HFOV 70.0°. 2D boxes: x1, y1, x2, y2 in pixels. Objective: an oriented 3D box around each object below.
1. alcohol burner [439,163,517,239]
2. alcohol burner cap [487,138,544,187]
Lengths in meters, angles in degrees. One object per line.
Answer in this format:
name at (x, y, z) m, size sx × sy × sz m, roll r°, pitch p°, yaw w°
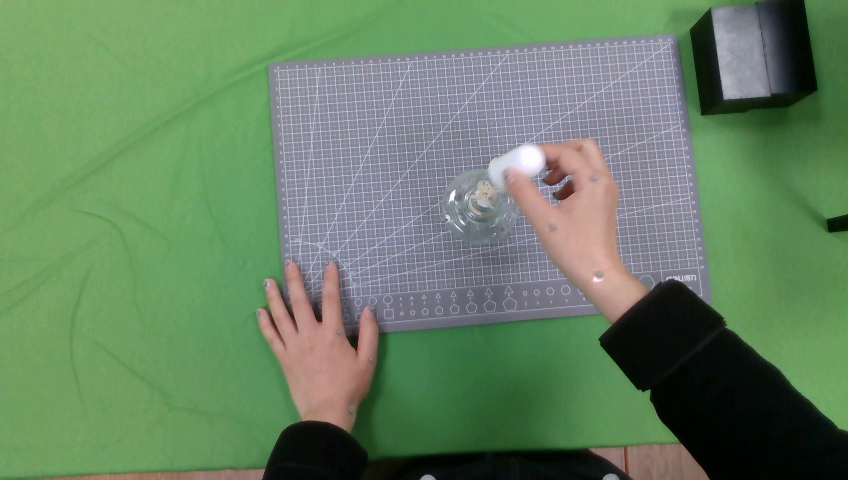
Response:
alcohol burner at (0.054, -0.040, 0.591) m, size 0.078 × 0.119 × 0.077 m, roll 0°, pitch 85°, yaw 0°
alcohol burner cap at (0.079, -0.068, 0.506) m, size 0.034 × 0.048 × 0.033 m, roll 14°, pitch 65°, yaw -33°
